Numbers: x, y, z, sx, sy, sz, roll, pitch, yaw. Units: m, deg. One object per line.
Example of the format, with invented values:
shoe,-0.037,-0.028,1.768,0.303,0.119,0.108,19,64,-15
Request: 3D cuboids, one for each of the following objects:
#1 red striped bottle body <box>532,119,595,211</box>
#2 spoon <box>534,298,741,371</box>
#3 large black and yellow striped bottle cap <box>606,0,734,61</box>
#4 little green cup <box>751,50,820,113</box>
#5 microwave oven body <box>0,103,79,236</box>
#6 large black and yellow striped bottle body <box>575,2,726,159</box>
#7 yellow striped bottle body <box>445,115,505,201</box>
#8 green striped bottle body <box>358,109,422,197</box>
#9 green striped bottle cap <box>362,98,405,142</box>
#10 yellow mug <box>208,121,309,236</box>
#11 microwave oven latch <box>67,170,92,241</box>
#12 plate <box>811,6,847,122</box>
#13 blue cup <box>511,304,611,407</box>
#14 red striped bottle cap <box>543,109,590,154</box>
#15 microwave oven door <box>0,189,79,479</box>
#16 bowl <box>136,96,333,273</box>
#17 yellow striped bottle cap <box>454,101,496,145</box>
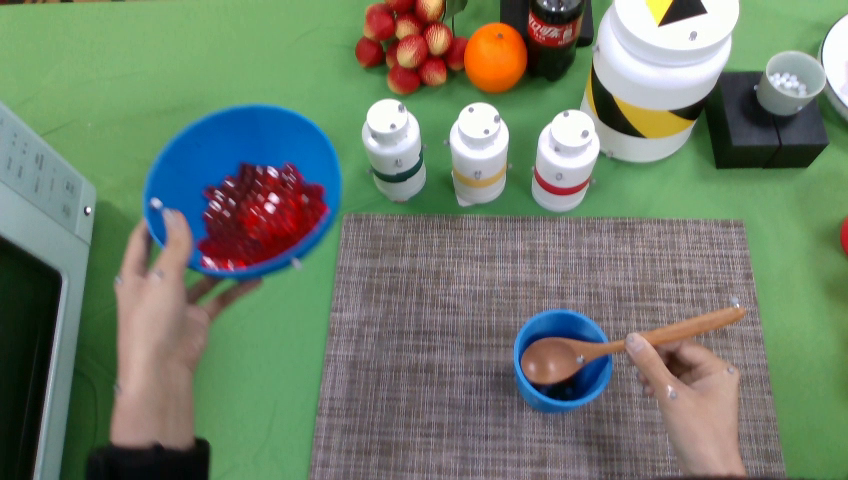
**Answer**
red striped bottle body,0.149,-0.086,0.652,0.063,0.121,0.062,-4,63,8
spoon,0.164,0.083,0.507,0.193,0.022,0.041,-23,90,37
large black and yellow striped bottle cap,0.233,-0.221,0.578,0.115,0.019,0.114,-2,64,5
little green cup,0.391,-0.171,0.660,0.061,0.039,0.061,-1,64,3
microwave oven body,-0.540,0.100,0.542,0.326,0.262,0.438,-8,66,1
large black and yellow striped bottle body,0.241,-0.187,0.655,0.131,0.185,0.129,-2,65,4
yellow striped bottle body,0.056,-0.098,0.664,0.063,0.121,0.062,-2,65,5
green striped bottle body,-0.038,-0.103,0.675,0.063,0.120,0.062,-2,65,4
green striped bottle cap,-0.043,-0.124,0.627,0.044,0.020,0.044,-1,65,3
yellow mug,-0.195,-0.066,0.700,0.100,0.064,0.130,10,68,8
microwave oven latch,-0.406,-0.039,0.700,0.030,0.030,0.078,-6,66,2
plate,0.562,-0.195,0.713,0.209,0.038,0.207,-2,66,4
blue cup,0.122,0.117,0.569,0.092,0.101,0.092,-2,64,4
red striped bottle cap,0.143,-0.109,0.605,0.044,0.018,0.044,0,64,0
microwave oven door,-0.396,0.117,0.517,0.039,0.245,0.352,-7,65,-1
bowl,-0.142,-0.033,0.496,0.151,0.077,0.150,-1,67,3
yellow striped bottle cap,0.052,-0.120,0.618,0.044,0.019,0.044,-1,67,3
